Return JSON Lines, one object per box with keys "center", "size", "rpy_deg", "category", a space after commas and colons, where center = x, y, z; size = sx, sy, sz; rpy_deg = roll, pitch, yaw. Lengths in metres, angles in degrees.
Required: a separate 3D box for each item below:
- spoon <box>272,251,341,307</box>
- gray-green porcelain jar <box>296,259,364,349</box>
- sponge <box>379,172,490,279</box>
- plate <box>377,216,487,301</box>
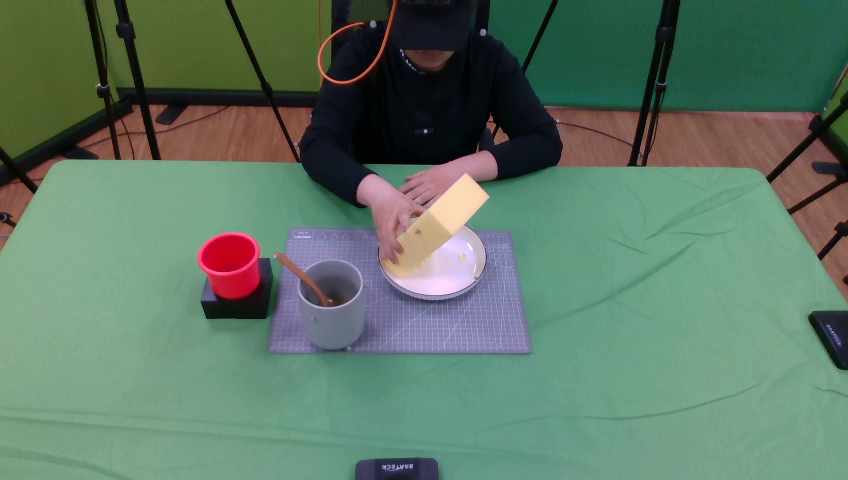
{"center": [-0.180, 0.077, 0.982], "size": [0.021, 0.195, 0.041], "rpy_deg": [-8, 46, 28], "category": "spoon"}
{"center": [-0.152, 0.111, 1.003], "size": [0.106, 0.127, 0.105], "rpy_deg": [2, 46, -2], "category": "gray-green porcelain jar"}
{"center": [0.015, -0.020, 1.073], "size": [0.061, 0.207, 0.118], "rpy_deg": [46, 53, -2], "category": "sponge"}
{"center": [0.015, 0.037, 1.147], "size": [0.208, 0.039, 0.206], "rpy_deg": [2, 46, -2], "category": "plate"}
